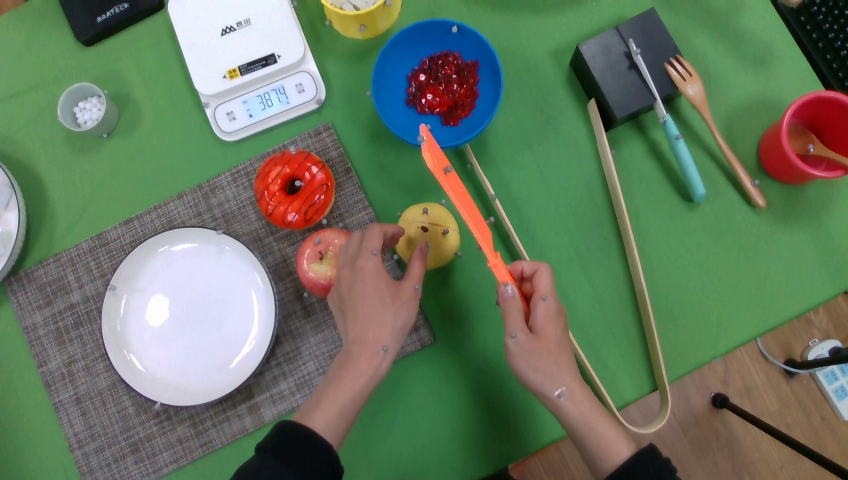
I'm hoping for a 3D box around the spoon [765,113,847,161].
[{"bbox_3d":[0.449,-0.091,0.652,0.041,0.022,0.191,-32,39,-1],"label":"spoon"}]

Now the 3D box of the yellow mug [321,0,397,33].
[{"bbox_3d":[-0.098,-0.323,0.740,0.130,0.064,0.100,31,87,6],"label":"yellow mug"}]

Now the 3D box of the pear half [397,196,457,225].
[{"bbox_3d":[0.004,-0.036,0.694,0.070,0.088,0.031,5,84,6],"label":"pear half"}]

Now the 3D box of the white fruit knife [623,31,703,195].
[{"bbox_3d":[0.274,-0.144,0.698,0.016,0.027,0.208,-29,98,-1],"label":"white fruit knife"}]

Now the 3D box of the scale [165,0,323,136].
[{"bbox_3d":[-0.225,-0.244,0.756,0.148,0.031,0.200,-22,84,1],"label":"scale"}]

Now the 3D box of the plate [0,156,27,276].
[{"bbox_3d":[-0.587,-0.024,0.747,0.207,0.039,0.207,0,84,3],"label":"plate"}]

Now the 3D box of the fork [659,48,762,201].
[{"bbox_3d":[0.336,-0.131,0.702,0.028,0.018,0.208,-36,99,-3],"label":"fork"}]

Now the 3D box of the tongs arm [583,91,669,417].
[{"bbox_3d":[0.233,0.010,0.712,0.028,0.028,0.386,-11,84,-7],"label":"tongs arm"}]

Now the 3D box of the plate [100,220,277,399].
[{"bbox_3d":[-0.273,0.081,0.717,0.209,0.038,0.208,0,84,3],"label":"plate"}]

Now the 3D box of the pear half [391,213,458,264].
[{"bbox_3d":[-0.002,-0.002,0.681,0.076,0.110,0.056,6,85,7],"label":"pear half"}]

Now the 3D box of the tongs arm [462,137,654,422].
[{"bbox_3d":[0.153,0.040,0.707,0.051,0.026,0.383,-26,84,-6],"label":"tongs arm"}]

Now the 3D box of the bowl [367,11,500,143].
[{"bbox_3d":[0.013,-0.180,0.715,0.151,0.077,0.151,0,85,3],"label":"bowl"}]

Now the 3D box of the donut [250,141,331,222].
[{"bbox_3d":[-0.159,-0.069,0.724,0.099,0.048,0.099,0,85,5],"label":"donut"}]

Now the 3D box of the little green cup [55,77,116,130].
[{"bbox_3d":[-0.418,-0.167,0.753,0.061,0.039,0.061,0,84,3],"label":"little green cup"}]

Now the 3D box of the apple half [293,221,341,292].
[{"bbox_3d":[-0.122,0.018,0.699,0.053,0.075,0.080,7,87,7],"label":"apple half"}]

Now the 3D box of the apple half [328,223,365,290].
[{"bbox_3d":[-0.083,0.021,0.695,0.033,0.081,0.081,7,84,7],"label":"apple half"}]

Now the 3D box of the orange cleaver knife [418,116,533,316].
[{"bbox_3d":[0.049,-0.021,0.571,0.012,0.076,0.213,-27,111,17],"label":"orange cleaver knife"}]
